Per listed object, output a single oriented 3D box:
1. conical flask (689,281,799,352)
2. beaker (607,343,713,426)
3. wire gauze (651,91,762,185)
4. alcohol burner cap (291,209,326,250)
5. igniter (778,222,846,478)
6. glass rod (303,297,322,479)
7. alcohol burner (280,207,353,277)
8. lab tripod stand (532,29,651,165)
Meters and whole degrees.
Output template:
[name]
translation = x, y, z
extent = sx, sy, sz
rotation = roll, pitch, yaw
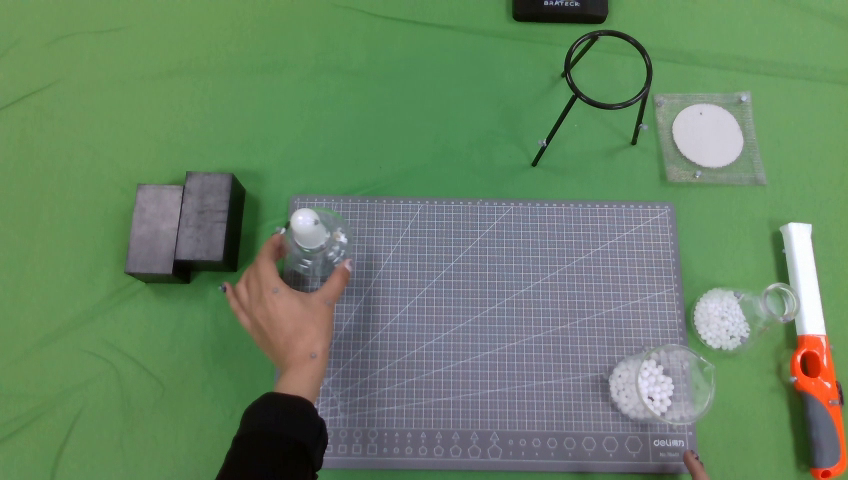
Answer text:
[conical flask]
translation = 0.332, 0.072, 0.622
extent = 0.075, 0.122, 0.075
rotation = 0, 74, 0
[beaker]
translation = 0.234, 0.145, 0.610
extent = 0.084, 0.101, 0.073
rotation = -22, 76, -7
[wire gauze]
translation = 0.344, -0.125, 0.735
extent = 0.125, 0.011, 0.121
rotation = 0, 75, -3
[alcohol burner cap]
translation = -0.116, -0.014, 0.602
extent = 0.034, 0.048, 0.033
rotation = 1, 67, -2
[igniter]
translation = 0.422, 0.114, 0.662
extent = 0.057, 0.025, 0.275
rotation = 4, 75, -11
[glass rod]
translation = -0.119, 0.160, 0.647
extent = 0.008, 0.008, 0.199
rotation = 2, 78, -1
[alcohol burner]
translation = -0.116, -0.002, 0.636
extent = 0.078, 0.119, 0.077
rotation = 0, 75, 1
[lab tripod stand]
translation = 0.184, -0.154, 0.676
extent = 0.148, 0.132, 0.147
rotation = 0, 76, -1
